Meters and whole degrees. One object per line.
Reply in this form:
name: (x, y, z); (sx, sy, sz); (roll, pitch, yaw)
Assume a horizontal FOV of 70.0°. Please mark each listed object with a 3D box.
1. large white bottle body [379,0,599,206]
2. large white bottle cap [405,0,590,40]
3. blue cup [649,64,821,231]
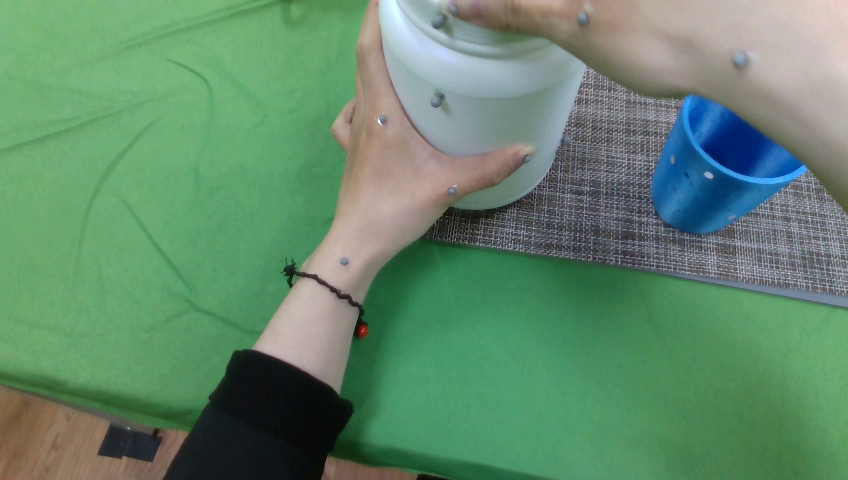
large white bottle body: (0.037, -0.119, 0.397); (0.131, 0.186, 0.129); (1, 65, -1)
large white bottle cap: (0.038, -0.155, 0.318); (0.115, 0.018, 0.114); (0, 66, 0)
blue cup: (0.201, -0.054, 0.417); (0.092, 0.101, 0.092); (0, 66, 1)
